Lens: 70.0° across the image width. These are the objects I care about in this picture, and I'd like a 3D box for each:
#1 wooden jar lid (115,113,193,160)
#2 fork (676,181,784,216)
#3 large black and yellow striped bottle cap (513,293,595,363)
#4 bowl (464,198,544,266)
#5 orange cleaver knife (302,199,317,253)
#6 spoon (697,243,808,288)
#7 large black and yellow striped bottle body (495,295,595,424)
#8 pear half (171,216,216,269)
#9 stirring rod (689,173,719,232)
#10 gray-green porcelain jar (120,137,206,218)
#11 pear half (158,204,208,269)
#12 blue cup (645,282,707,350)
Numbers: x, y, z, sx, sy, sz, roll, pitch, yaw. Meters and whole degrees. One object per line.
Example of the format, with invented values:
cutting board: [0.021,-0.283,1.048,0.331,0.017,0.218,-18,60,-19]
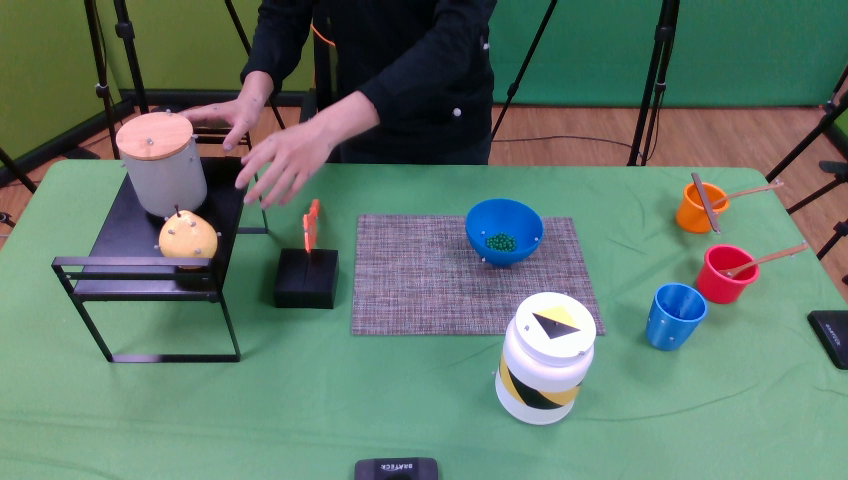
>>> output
wooden jar lid: [-0.399,-0.151,0.900,0.108,0.021,0.107,3,46,-3]
fork: [0.618,-0.083,1.235,0.207,0.019,0.028,-23,20,38]
large black and yellow striped bottle cap: [0.186,0.123,0.863,0.115,0.019,0.114,3,45,-3]
bowl: [0.149,-0.004,1.168,0.151,0.077,0.150,2,46,-2]
orange cleaver knife: [-0.219,-0.031,1.168,0.012,0.077,0.210,-5,17,-3]
spoon: [0.601,0.045,1.115,0.194,0.022,0.041,-29,35,30]
large black and yellow striped bottle body: [0.183,0.182,0.923,0.131,0.185,0.130,2,46,-2]
pear half: [-0.323,0.007,0.867,0.031,0.088,0.070,25,45,20]
stirring rod: [0.566,-0.079,1.225,0.014,0.006,0.175,2,45,2]
gray-green porcelain jar: [-0.403,-0.106,0.946,0.106,0.127,0.105,3,46,-2]
pear half: [-0.352,-0.015,0.873,0.056,0.110,0.076,25,45,20]
blue cup: [0.425,0.136,1.042,0.093,0.101,0.092,1,44,-1]
